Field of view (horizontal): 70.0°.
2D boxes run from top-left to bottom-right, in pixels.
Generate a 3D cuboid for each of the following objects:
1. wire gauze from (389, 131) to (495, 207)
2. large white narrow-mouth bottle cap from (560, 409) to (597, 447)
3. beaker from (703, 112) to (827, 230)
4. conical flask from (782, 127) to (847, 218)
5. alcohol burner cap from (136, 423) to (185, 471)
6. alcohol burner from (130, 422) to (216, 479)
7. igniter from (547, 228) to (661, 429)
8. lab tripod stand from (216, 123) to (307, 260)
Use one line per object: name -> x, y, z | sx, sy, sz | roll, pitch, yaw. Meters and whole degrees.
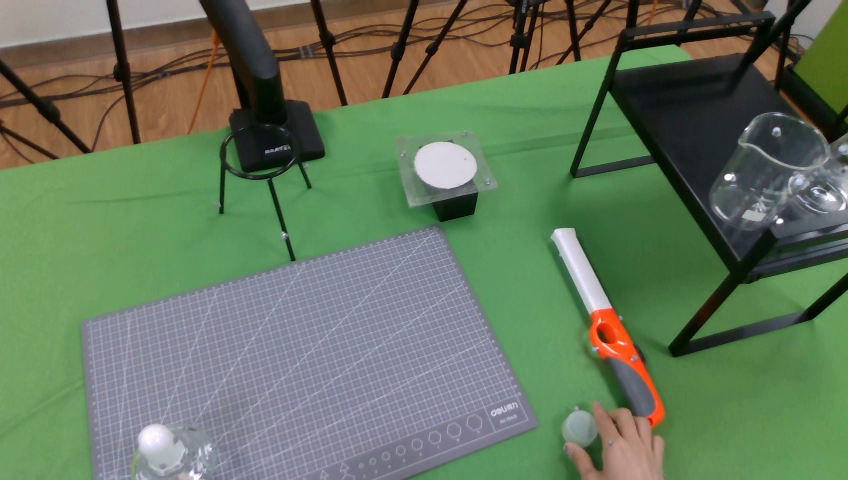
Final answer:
wire gauze -> 0.022, -0.102, 0.821 | 0.122, 0.011, 0.123 | -9, 55, -11
large white narrow-mouth bottle cap -> 0.168, 0.206, 0.664 | 0.038, 0.024, 0.037 | 2, 53, -3
beaker -> 0.328, -0.065, 0.601 | 0.084, 0.101, 0.073 | 3, 54, -2
conical flask -> 0.426, -0.085, 0.609 | 0.075, 0.123, 0.074 | 2, 54, -2
alcohol burner cap -> -0.237, 0.183, 0.540 | 0.034, 0.048, 0.033 | 0, 50, 0
alcohol burner -> -0.239, 0.204, 0.569 | 0.078, 0.120, 0.077 | 3, 52, -4
igniter -> 0.216, 0.097, 0.742 | 0.057, 0.025, 0.273 | -4, 54, -21
lab tripod stand -> -0.198, -0.066, 0.760 | 0.148, 0.132, 0.147 | 3, 54, -4
